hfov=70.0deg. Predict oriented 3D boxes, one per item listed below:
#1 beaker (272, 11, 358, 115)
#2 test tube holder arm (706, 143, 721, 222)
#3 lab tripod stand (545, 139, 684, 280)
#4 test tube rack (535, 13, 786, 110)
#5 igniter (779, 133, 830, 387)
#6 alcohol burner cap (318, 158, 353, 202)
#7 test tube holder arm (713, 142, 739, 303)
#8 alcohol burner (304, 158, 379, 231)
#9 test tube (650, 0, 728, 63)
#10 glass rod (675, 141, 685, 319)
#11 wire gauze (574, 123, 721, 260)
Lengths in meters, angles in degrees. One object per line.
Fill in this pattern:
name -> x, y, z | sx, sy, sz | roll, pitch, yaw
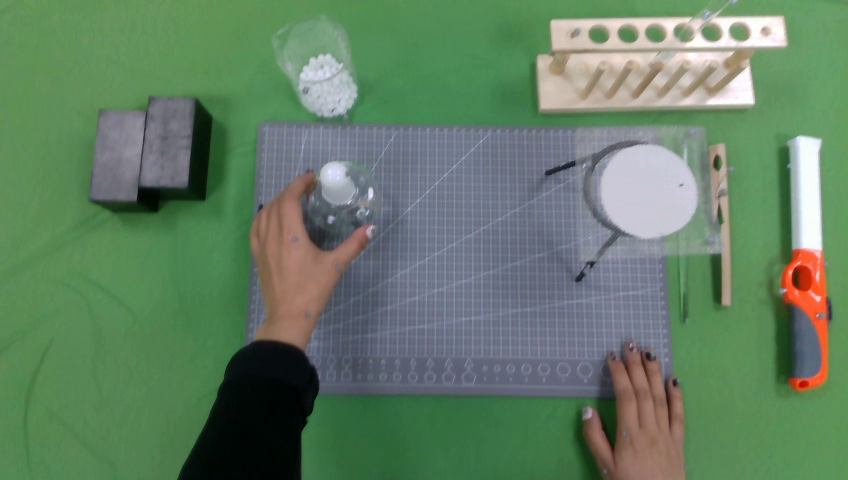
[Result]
beaker -> -0.112, -0.183, 0.644 | 0.084, 0.100, 0.074 | 19, 79, 4
test tube holder arm -> 0.322, -0.064, 0.671 | 0.010, 0.015, 0.087 | -9, 76, 37
lab tripod stand -> 0.183, -0.038, 0.602 | 0.148, 0.132, 0.148 | 0, 80, 1
test tube rack -> 0.250, -0.191, 0.658 | 0.242, 0.085, 0.066 | -1, 79, -1
igniter -> 0.409, 0.019, 0.652 | 0.057, 0.025, 0.275 | 8, 80, -10
alcohol burner cap -> -0.086, -0.060, 0.576 | 0.034, 0.048, 0.033 | 1, 70, -3
test tube holder arm -> 0.328, -0.021, 0.659 | 0.013, 0.015, 0.177 | -11, 75, 37
alcohol burner -> -0.086, -0.051, 0.611 | 0.078, 0.119, 0.077 | 0, 78, 1
test tube -> 0.269, -0.216, 0.613 | 0.017, 0.150, 0.017 | 1, 79, -6
glass rod -> 0.282, -0.012, 0.666 | 0.008, 0.008, 0.199 | 4, 83, 0
wire gauze -> 0.194, -0.045, 0.535 | 0.121, 0.011, 0.124 | -1, 79, 1
